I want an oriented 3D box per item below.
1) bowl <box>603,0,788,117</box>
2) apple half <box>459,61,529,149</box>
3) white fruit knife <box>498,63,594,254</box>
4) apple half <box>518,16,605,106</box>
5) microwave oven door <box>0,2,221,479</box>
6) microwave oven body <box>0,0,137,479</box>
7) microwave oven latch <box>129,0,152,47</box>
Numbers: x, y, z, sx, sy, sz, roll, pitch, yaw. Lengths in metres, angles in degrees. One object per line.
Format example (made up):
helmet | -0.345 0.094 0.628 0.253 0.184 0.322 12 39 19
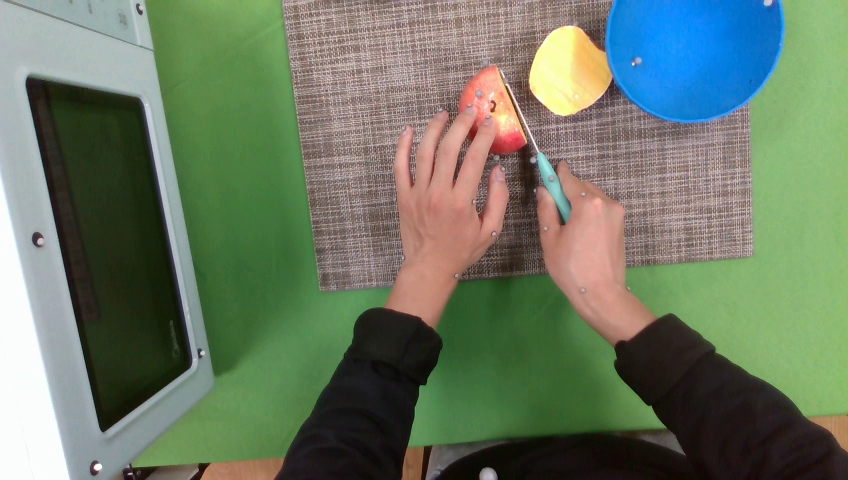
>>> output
bowl | 0.233 -0.186 0.552 0.151 0.076 0.151 1 99 4
apple half | 0.062 -0.123 0.577 0.053 0.074 0.081 -23 100 17
white fruit knife | 0.117 -0.081 0.593 0.016 0.027 0.207 -26 86 6
apple half | 0.128 -0.168 0.579 0.081 0.032 0.081 2 105 6
microwave oven door | -0.269 0.001 0.519 0.039 0.243 0.356 -7 98 5
microwave oven body | -0.419 -0.023 0.529 0.326 0.259 0.442 -7 99 4
microwave oven latch | -0.289 -0.228 0.586 0.030 0.029 0.079 -7 99 4
